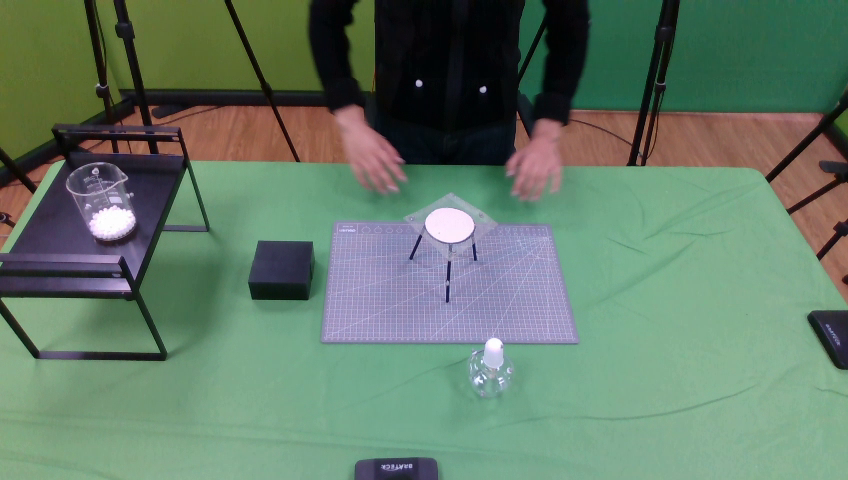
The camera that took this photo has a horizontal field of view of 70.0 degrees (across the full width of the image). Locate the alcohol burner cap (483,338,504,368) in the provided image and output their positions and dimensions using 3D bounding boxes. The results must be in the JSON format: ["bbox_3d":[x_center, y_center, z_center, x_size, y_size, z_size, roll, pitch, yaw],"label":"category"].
[{"bbox_3d":[0.108,0.170,0.928,0.034,0.048,0.033,-1,41,1],"label":"alcohol burner cap"}]

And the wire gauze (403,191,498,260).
[{"bbox_3d":[0.046,-0.032,1.053,0.121,0.011,0.124,-32,55,-29],"label":"wire gauze"}]

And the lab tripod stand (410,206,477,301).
[{"bbox_3d":[0.039,0.015,1.101,0.148,0.132,0.147,1,47,0],"label":"lab tripod stand"}]

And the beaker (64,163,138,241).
[{"bbox_3d":[-0.478,-0.055,0.910,0.084,0.101,0.073,-9,48,-13],"label":"beaker"}]

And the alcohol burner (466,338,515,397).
[{"bbox_3d":[0.106,0.195,0.952,0.078,0.120,0.077,1,46,0],"label":"alcohol burner"}]
